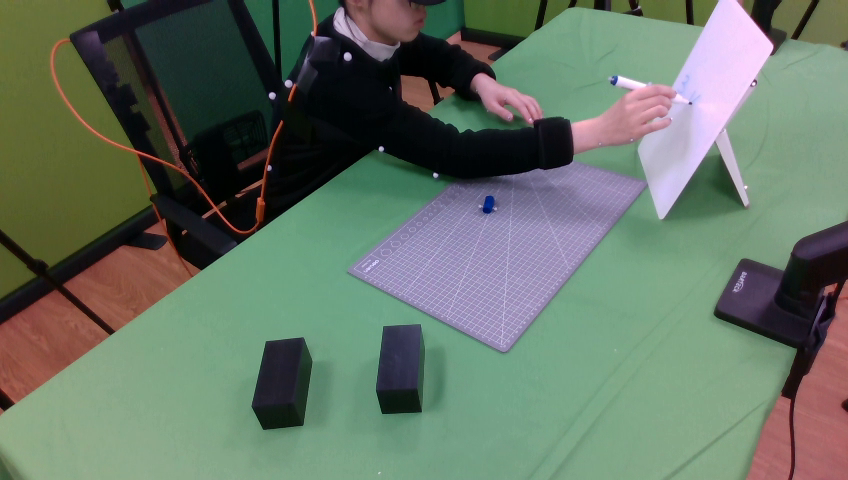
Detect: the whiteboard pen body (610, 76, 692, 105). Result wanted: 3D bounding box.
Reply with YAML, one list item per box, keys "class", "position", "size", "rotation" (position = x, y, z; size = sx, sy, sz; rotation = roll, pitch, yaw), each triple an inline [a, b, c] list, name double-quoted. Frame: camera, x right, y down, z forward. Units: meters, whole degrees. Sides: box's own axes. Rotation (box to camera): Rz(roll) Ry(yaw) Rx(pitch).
- class: "whiteboard pen body"
  position: [0.355, -0.229, 0.939]
  size: [0.141, 0.017, 0.017]
  rotation: [13, 40, -10]

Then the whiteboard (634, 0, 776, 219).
- class: "whiteboard"
  position: [0.485, -0.192, 0.956]
  size: [0.144, 0.305, 0.216]
  rotation: [14, 41, -5]

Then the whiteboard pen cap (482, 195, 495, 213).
- class: "whiteboard pen cap"
  position: [0.109, -0.060, 1.028]
  size: [0.018, 0.018, 0.033]
  rotation: [6, 44, 15]
